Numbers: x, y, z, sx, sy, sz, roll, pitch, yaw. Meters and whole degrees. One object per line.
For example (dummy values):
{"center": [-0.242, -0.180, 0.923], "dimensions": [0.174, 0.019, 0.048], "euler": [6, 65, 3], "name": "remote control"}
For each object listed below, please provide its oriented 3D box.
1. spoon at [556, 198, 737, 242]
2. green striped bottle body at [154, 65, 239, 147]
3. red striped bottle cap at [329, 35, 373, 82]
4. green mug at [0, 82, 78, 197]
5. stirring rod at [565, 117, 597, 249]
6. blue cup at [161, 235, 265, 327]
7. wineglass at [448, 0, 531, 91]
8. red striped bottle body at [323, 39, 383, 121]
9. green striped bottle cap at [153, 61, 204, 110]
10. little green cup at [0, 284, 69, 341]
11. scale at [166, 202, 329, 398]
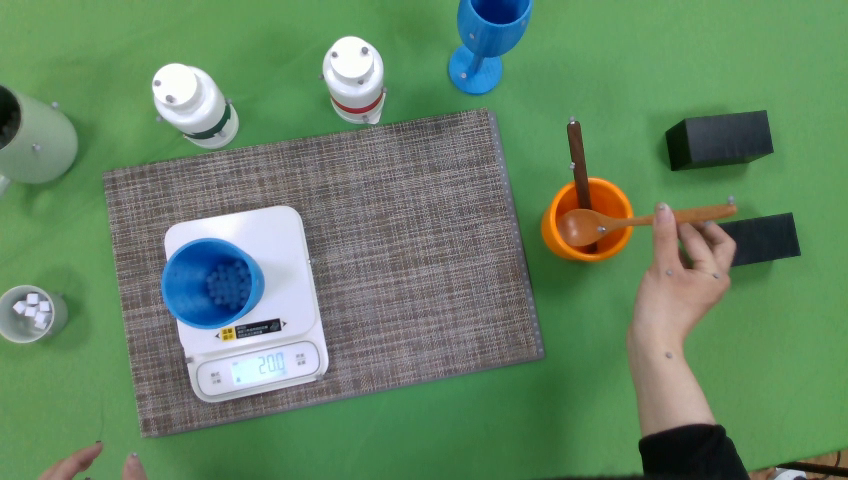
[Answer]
{"center": [0.210, -0.022, 0.598], "dimensions": [0.022, 0.193, 0.041], "euler": [-5, 90, -35], "name": "spoon"}
{"center": [-0.243, -0.144, 0.647], "dimensions": [0.063, 0.119, 0.063], "euler": [0, 84, -4], "name": "green striped bottle body"}
{"center": [-0.073, -0.183, 0.608], "dimensions": [0.044, 0.018, 0.044], "euler": [0, 82, -3], "name": "red striped bottle cap"}
{"center": [-0.439, -0.098, 0.637], "dimensions": [0.092, 0.105, 0.125], "euler": [24, 83, -1], "name": "green mug"}
{"center": [0.172, -0.056, 0.657], "dimensions": [0.014, 0.005, 0.178], "euler": [-25, 128, -4], "name": "stirring rod"}
{"center": [-0.200, 0.041, 0.607], "dimensions": [0.093, 0.100, 0.092], "euler": [0, 86, -4], "name": "blue cup"}
{"center": [0.065, -0.221, 0.648], "dimensions": [0.074, 0.172, 0.073], "euler": [0, 84, -3], "name": "wineglass"}
{"center": [-0.076, -0.177, 0.661], "dimensions": [0.063, 0.120, 0.063], "euler": [0, 84, -4], "name": "red striped bottle body"}
{"center": [-0.240, -0.151, 0.591], "dimensions": [0.044, 0.020, 0.044], "euler": [0, 84, -2], "name": "green striped bottle cap"}
{"center": [-0.419, 0.078, 0.654], "dimensions": [0.061, 0.038, 0.061], "euler": [1, 84, -5], "name": "little green cup"}
{"center": [-0.195, 0.065, 0.670], "dimensions": [0.149, 0.031, 0.200], "euler": [-11, 86, -4], "name": "scale"}
